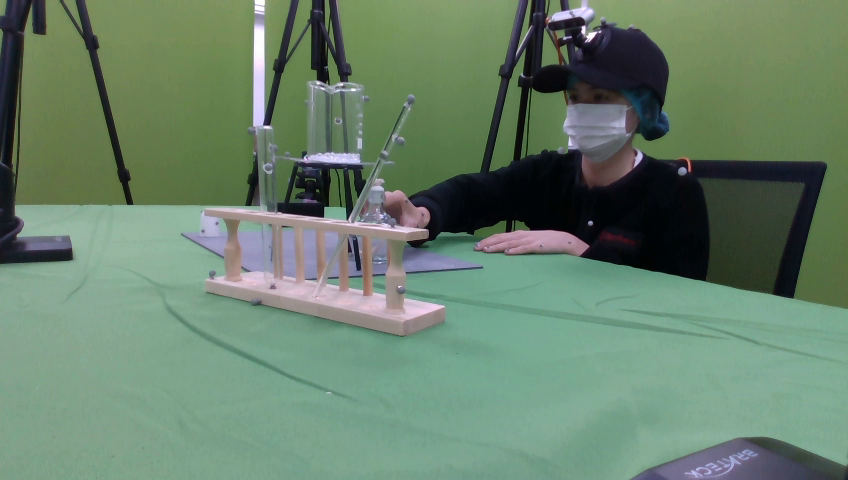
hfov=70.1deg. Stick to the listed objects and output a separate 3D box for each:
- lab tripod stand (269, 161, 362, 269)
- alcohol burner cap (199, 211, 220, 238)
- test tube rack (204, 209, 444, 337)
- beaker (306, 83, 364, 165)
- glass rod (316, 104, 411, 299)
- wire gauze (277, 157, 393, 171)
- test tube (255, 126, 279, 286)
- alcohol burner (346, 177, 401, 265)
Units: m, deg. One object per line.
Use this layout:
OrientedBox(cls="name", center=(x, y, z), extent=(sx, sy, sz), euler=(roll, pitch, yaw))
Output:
OrientedBox(cls="lab tripod stand", center=(-0.125, -0.036, 0.793), extent=(0.148, 0.131, 0.148), euler=(5, 7, 0))
OrientedBox(cls="alcohol burner cap", center=(-0.356, -0.027, 1.002), extent=(0.034, 0.048, 0.034), euler=(2, 7, 0))
OrientedBox(cls="test tube rack", center=(-0.100, 0.021, 0.565), extent=(0.241, 0.085, 0.067), euler=(7, 9, 32))
OrientedBox(cls="beaker", center=(-0.115, -0.147, 0.775), extent=(0.074, 0.100, 0.084), euler=(2, 8, -2))
OrientedBox(cls="glass rod", center=(-0.054, -0.026, 0.517), extent=(0.008, 0.199, 0.008), euler=(23, 24, -11))
OrientedBox(cls="wire gauze", center=(-0.122, -0.100, 0.786), extent=(0.122, 0.011, 0.124), euler=(-5, 14, -38))
OrientedBox(cls="test tube", center=(-0.147, -0.031, 0.566), extent=(0.017, 0.150, 0.017), euler=(-1, 8, 0))
OrientedBox(cls="alcohol burner", center=(-0.067, -0.026, 0.818), extent=(0.078, 0.119, 0.078), euler=(2, 9, 0))
